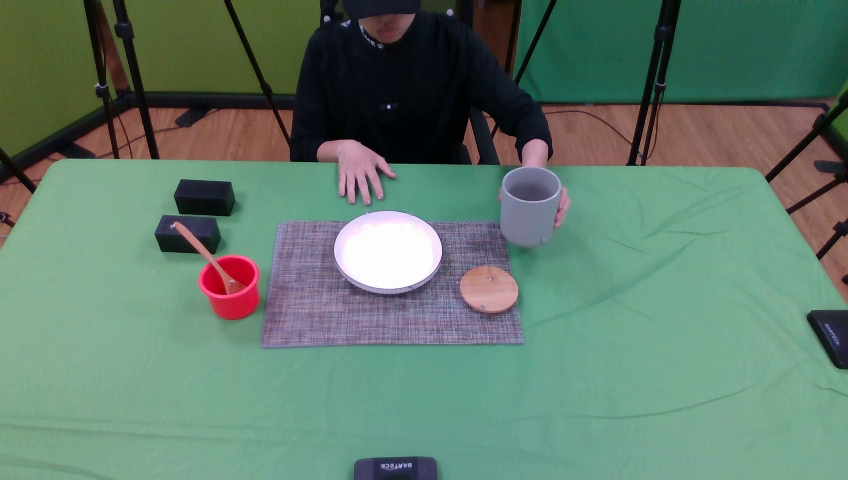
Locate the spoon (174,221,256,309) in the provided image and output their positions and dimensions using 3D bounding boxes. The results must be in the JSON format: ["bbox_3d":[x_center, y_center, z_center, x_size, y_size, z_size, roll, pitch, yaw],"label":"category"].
[{"bbox_3d":[-0.360,0.043,1.043,0.194,0.021,0.041,54,52,-14],"label":"spoon"}]

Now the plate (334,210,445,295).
[{"bbox_3d":[-0.066,0.026,1.150,0.208,0.039,0.206,2,46,-2],"label":"plate"}]

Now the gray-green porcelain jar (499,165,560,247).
[{"bbox_3d":[0.193,-0.058,1.126,0.106,0.127,0.105,-2,45,3],"label":"gray-green porcelain jar"}]

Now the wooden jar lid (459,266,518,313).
[{"bbox_3d":[0.118,0.093,1.111,0.108,0.021,0.107,1,47,-1],"label":"wooden jar lid"}]
